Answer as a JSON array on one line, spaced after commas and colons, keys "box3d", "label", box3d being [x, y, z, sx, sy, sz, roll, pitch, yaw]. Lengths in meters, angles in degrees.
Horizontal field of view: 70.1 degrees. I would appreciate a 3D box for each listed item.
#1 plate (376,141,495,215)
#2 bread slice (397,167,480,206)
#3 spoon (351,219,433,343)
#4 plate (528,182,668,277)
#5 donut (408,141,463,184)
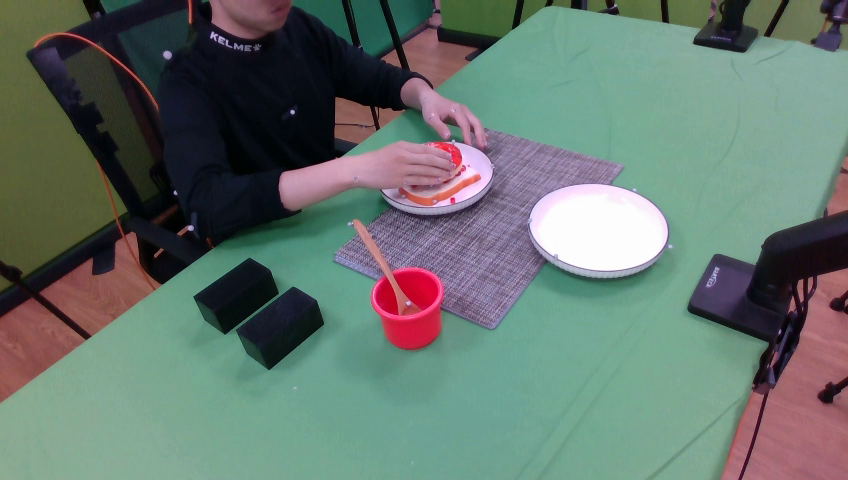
[{"box3d": [0.022, -0.106, 1.073, 0.209, 0.038, 0.208, -4, 40, 4], "label": "plate"}, {"box3d": [0.020, -0.105, 1.079, 0.132, 0.019, 0.104, -30, 46, -30], "label": "bread slice"}, {"box3d": [-0.045, 0.054, 0.820, 0.042, 0.021, 0.193, -28, 89, -21], "label": "spoon"}, {"box3d": [0.264, -0.014, 0.933, 0.207, 0.039, 0.206, -3, 42, 3], "label": "plate"}, {"box3d": [0.021, -0.138, 1.058, 0.099, 0.048, 0.098, -4, 40, 4], "label": "donut"}]
